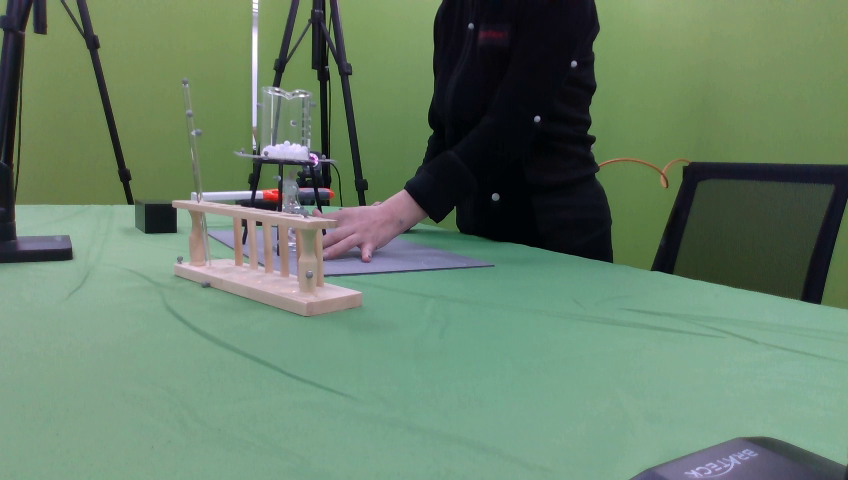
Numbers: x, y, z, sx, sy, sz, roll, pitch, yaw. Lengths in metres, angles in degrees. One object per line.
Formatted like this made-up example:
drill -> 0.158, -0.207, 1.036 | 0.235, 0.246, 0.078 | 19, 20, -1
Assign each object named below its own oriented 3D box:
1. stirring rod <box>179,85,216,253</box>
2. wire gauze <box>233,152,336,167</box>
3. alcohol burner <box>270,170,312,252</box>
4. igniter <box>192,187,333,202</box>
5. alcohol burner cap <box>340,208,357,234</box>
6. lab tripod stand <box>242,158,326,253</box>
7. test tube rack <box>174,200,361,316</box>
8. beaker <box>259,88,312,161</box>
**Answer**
stirring rod -> -0.237, -0.073, 0.634 | 0.006, 0.176, 0.014 | 1, 10, 43
wire gauze -> -0.205, -0.118, 0.887 | 0.122, 0.011, 0.124 | 2, 4, -32
alcohol burner -> -0.198, -0.043, 0.890 | 0.078, 0.119, 0.078 | 1, 5, 0
igniter -> -0.316, -0.090, 1.213 | 0.278, 0.025, 0.057 | -5, 12, -31
alcohol burner cap -> -0.142, -0.035, 1.136 | 0.034, 0.048, 0.034 | 1, 6, 0
lab tripod stand -> -0.207, -0.054, 0.895 | 0.148, 0.131, 0.148 | 3, 5, 0
test tube rack -> -0.169, 0.009, 0.622 | 0.241, 0.085, 0.067 | 9, 9, 41
beaker -> -0.201, -0.166, 0.876 | 0.074, 0.100, 0.083 | 1, 7, -18
